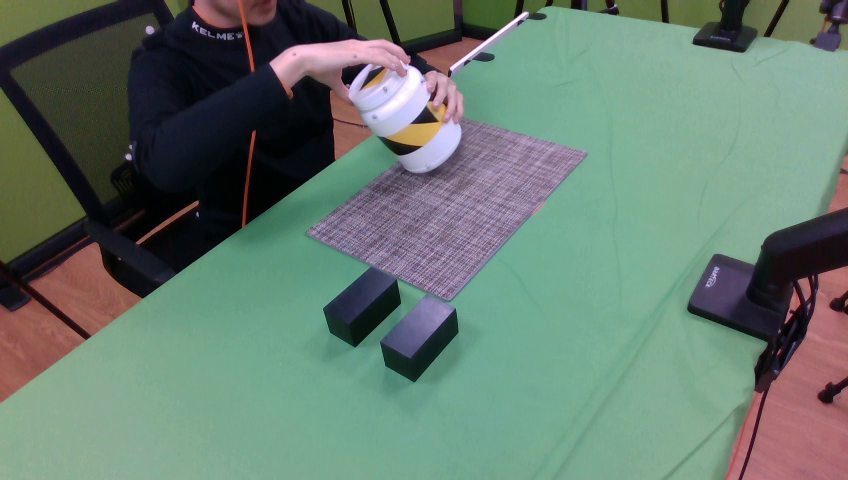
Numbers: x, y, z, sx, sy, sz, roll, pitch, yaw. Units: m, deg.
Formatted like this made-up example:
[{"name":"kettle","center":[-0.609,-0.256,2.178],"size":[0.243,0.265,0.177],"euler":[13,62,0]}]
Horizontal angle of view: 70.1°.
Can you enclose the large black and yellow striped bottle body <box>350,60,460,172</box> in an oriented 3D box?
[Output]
[{"name":"large black and yellow striped bottle body","center":[-0.035,-0.225,1.077],"size":[0.130,0.185,0.130],"euler":[-25,41,24]}]

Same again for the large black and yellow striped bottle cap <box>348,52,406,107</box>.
[{"name":"large black and yellow striped bottle cap","center":[-0.081,-0.274,1.027],"size":[0.114,0.019,0.114],"euler":[-24,42,25]}]
